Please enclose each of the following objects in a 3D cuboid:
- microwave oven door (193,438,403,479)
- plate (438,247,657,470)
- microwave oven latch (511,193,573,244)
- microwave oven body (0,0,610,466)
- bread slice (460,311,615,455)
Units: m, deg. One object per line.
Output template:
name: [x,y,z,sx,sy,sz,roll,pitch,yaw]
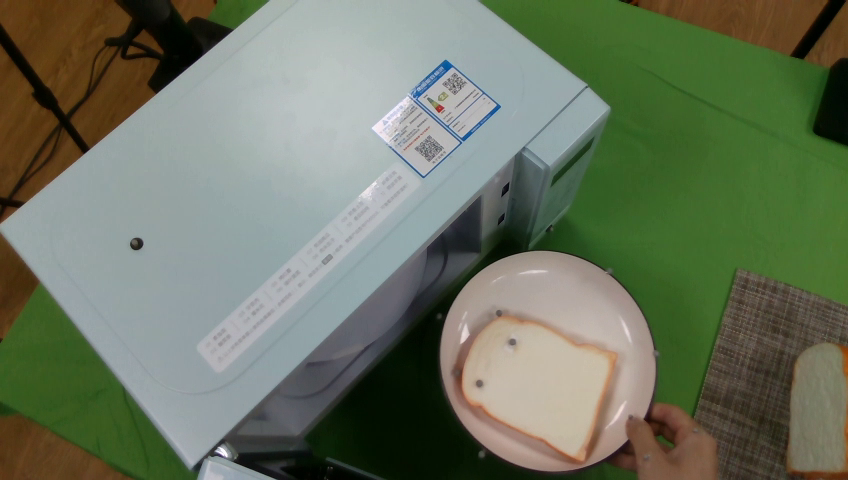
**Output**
microwave oven door: [0.010,0.250,0.520,0.355,0.245,0.039,17,74,9]
plate: [0.116,0.111,0.584,0.208,0.039,0.206,1,74,-3]
microwave oven latch: [0.137,-0.032,0.706,0.079,0.030,0.030,-43,75,-8]
microwave oven body: [-0.100,-0.038,0.622,0.441,0.262,0.324,-44,75,-9]
bread slice: [0.102,0.130,0.577,0.134,0.018,0.106,22,72,3]
